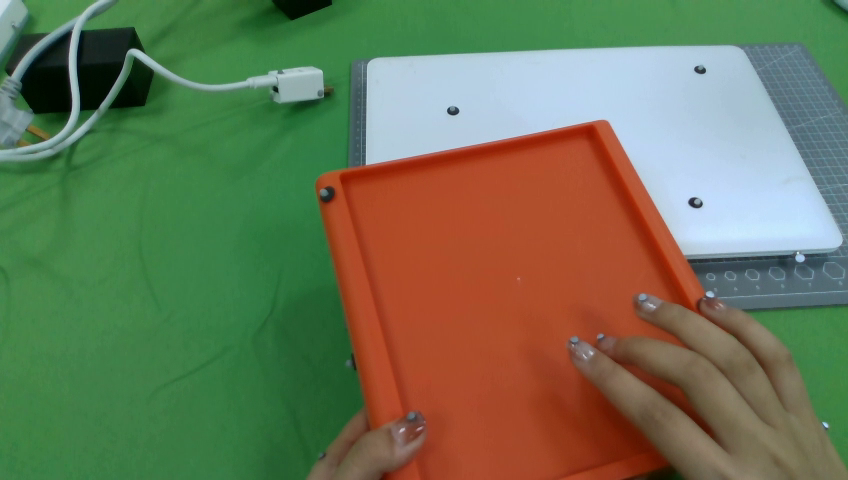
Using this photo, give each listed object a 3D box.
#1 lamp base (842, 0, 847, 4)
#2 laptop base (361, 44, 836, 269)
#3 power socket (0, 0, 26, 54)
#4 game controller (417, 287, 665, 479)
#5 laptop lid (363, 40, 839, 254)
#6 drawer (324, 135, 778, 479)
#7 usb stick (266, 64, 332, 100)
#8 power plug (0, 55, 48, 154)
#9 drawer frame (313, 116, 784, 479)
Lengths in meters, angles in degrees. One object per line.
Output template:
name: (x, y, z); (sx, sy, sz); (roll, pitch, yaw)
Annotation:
lamp base: (0.515, -0.336, 0.594); (0.159, 0.182, 0.179); (30, 58, 21)
laptop base: (0.126, -0.079, 0.509); (0.354, 0.023, 0.233); (-2, 57, -2)
power socket: (-0.453, -0.173, 0.573); (0.072, 0.033, 0.224); (1, 54, -1)
game controller: (0.071, 0.088, 0.351); (0.155, 0.051, 0.097); (-16, 91, -12)
laptop lid: (0.126, -0.083, 0.499); (0.357, 0.013, 0.239); (-1, 56, 0)
drawer: (0.057, 0.048, 0.360); (0.195, 0.074, 0.209); (-12, 60, -11)
usb stick: (-0.111, -0.144, 0.548); (0.059, 0.027, 0.021); (-16, 30, -37)
power plug: (-0.334, -0.110, 0.508); (0.072, 0.053, 0.035); (-55, 36, -1)
drawer frame: (0.055, 0.045, 0.360); (0.202, 0.083, 0.211); (-13, 61, -11)
